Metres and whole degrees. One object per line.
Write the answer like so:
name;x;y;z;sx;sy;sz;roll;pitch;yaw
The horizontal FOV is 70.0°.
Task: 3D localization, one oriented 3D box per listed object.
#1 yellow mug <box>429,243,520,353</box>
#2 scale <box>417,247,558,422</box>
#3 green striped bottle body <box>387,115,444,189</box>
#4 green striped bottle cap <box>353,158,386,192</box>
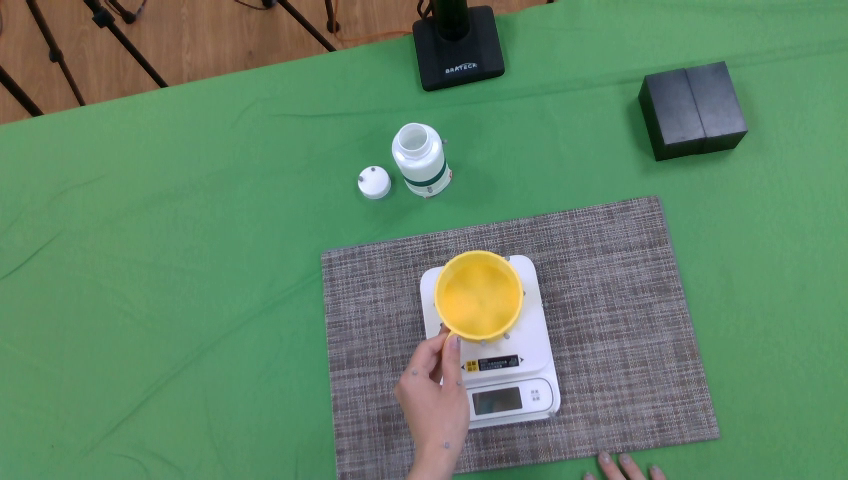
yellow mug;0.051;0.072;0.692;0.099;0.064;0.130;30;83;12
scale;0.074;0.113;0.743;0.148;0.032;0.199;-10;74;6
green striped bottle body;-0.011;-0.115;0.777;0.063;0.120;0.063;-2;73;8
green striped bottle cap;-0.075;-0.089;0.835;0.044;0.020;0.044;-1;80;6
